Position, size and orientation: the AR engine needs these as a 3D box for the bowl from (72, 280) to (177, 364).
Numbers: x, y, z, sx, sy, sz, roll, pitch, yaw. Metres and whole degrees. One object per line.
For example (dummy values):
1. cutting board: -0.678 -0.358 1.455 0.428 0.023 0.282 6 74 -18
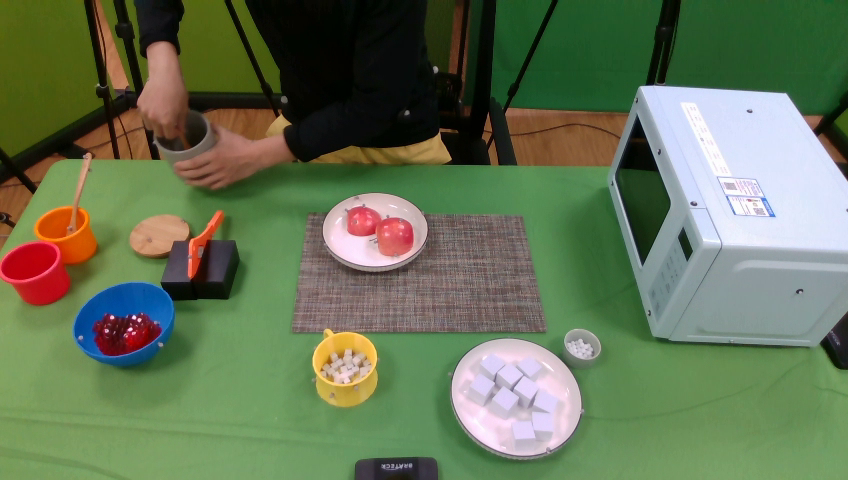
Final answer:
1. bowl: -0.473 0.147 0.982 0.151 0.077 0.150 2 46 -2

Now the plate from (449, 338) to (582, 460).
1. plate: 0.141 0.251 0.956 0.208 0.039 0.206 2 46 -2

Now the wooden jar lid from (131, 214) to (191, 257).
1. wooden jar lid: -0.504 -0.008 1.167 0.108 0.021 0.107 3 46 -3

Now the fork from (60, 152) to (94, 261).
1. fork: -0.638 -0.063 1.119 0.028 0.018 0.207 12 90 7

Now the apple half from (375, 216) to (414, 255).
1. apple half: -0.056 -0.017 1.169 0.075 0.053 0.080 0 46 -7

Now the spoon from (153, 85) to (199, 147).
1. spoon: -0.464 -0.215 1.183 0.021 0.195 0.041 6 43 41

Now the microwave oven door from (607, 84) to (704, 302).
1. microwave oven door: 0.424 -0.096 1.137 0.039 0.245 0.353 3 46 -1

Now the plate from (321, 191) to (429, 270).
1. plate: -0.094 -0.015 1.185 0.209 0.038 0.208 2 46 -2

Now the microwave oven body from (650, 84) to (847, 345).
1. microwave oven body: 0.569 -0.054 1.116 0.326 0.261 0.439 2 46 -1

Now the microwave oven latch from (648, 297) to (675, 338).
1. microwave oven latch: 0.414 0.133 1.060 0.030 0.029 0.078 5 46 2

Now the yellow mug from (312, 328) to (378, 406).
1. yellow mug: -0.132 0.193 0.971 0.100 0.064 0.130 -22 51 -23

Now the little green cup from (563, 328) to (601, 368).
1. little green cup: 0.266 0.185 1.025 0.061 0.039 0.061 1 45 -1

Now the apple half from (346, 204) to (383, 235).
1. apple half: -0.119 -0.049 1.207 0.081 0.033 0.081 2 50 -2

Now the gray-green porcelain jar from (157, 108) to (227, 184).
1. gray-green porcelain jar: -0.457 -0.181 1.208 0.106 0.127 0.105 0 62 -1

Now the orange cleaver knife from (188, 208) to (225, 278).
1. orange cleaver knife: -0.401 0.001 1.122 0.012 0.077 0.210 6 23 -5
